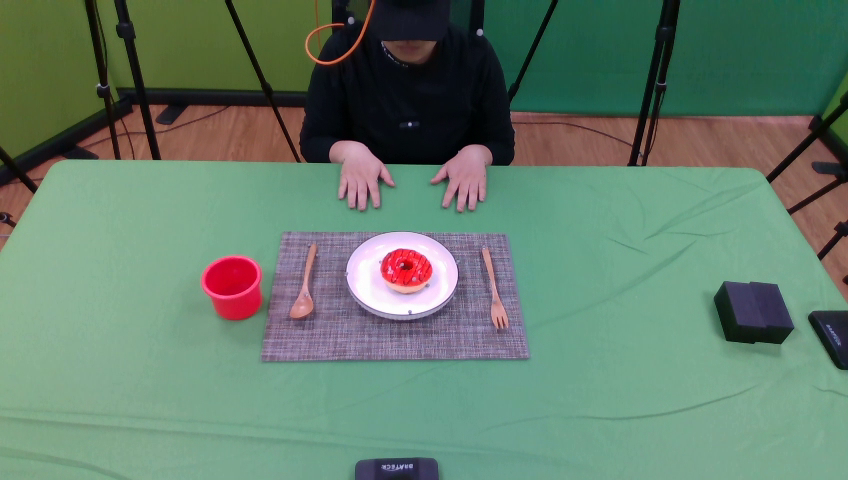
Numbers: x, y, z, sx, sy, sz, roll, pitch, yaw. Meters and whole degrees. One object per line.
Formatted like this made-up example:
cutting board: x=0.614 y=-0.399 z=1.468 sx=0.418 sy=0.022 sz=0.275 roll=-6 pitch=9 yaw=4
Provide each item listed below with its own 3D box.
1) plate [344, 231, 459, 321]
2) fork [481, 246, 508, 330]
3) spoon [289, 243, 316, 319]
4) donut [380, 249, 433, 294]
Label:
plate: x=-0.042 y=0.068 z=1.115 sx=0.209 sy=0.038 sz=0.208 roll=2 pitch=46 yaw=-2
fork: x=0.128 y=0.084 z=1.125 sx=0.028 sy=0.019 sz=0.206 roll=-7 pitch=48 yaw=-1
spoon: x=-0.215 y=0.071 z=1.108 sx=0.041 sy=0.022 sz=0.192 roll=-10 pitch=45 yaw=10
donut: x=-0.032 y=0.056 z=1.111 sx=0.099 sy=0.048 sz=0.098 roll=3 pitch=43 yaw=-3
